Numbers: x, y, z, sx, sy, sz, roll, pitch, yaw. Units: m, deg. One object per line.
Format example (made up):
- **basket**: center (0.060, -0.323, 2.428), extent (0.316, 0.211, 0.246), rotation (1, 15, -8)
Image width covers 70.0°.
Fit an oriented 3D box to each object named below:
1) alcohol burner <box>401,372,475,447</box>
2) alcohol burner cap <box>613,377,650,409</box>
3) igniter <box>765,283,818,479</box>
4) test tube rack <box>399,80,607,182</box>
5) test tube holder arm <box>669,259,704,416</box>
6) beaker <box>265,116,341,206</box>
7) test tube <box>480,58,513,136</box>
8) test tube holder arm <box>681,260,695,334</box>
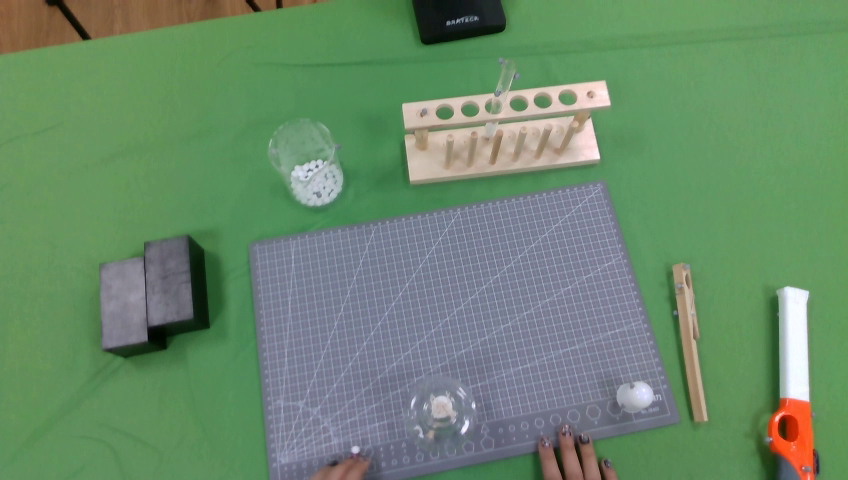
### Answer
- **alcohol burner**: center (0.015, 0.171, 0.620), extent (0.078, 0.120, 0.077), rotation (0, 69, -1)
- **alcohol burner cap**: center (0.228, 0.165, 0.660), extent (0.034, 0.048, 0.033), rotation (0, 69, 0)
- **igniter**: center (0.402, 0.182, 0.664), extent (0.057, 0.025, 0.275), rotation (13, 71, -5)
- **test tube rack**: center (0.095, -0.132, 0.743), extent (0.242, 0.085, 0.066), rotation (-7, 71, -2)
- **test tube holder arm**: center (0.300, 0.109, 0.694), extent (0.013, 0.015, 0.177), rotation (11, 69, -33)
- **beaker**: center (-0.139, -0.087, 0.721), extent (0.074, 0.101, 0.083), rotation (-8, 71, -2)
- **test tube**: center (0.082, -0.160, 0.700), extent (0.017, 0.151, 0.017), rotation (1, 71, -3)
- **test tube holder arm**: center (0.305, 0.068, 0.711), extent (0.010, 0.015, 0.087), rotation (13, 68, -32)
